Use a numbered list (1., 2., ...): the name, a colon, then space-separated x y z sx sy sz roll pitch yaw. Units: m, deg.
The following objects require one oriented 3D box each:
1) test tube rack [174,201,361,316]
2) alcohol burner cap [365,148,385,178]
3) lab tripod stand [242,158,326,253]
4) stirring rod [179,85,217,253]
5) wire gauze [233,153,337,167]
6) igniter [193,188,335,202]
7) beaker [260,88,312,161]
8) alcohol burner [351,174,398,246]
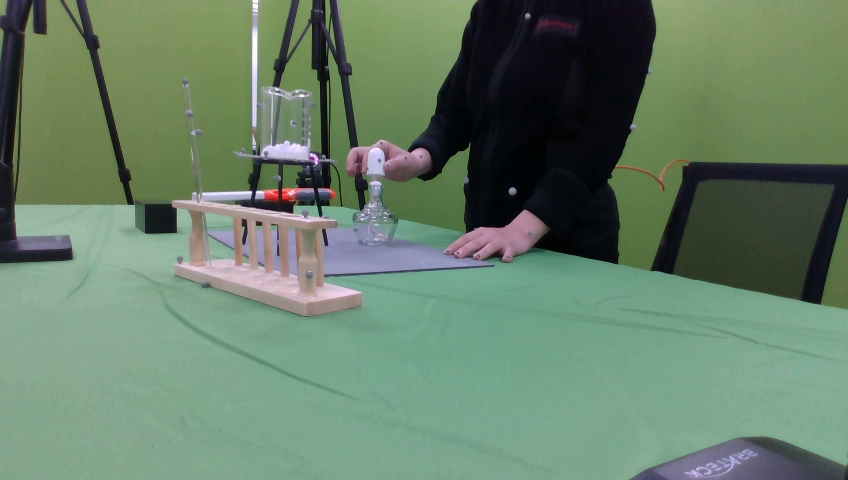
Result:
1. test tube rack: -0.169 0.010 0.622 0.241 0.085 0.067 9 9 41
2. alcohol burner cap: -0.080 -0.127 0.993 0.034 0.048 0.034 0 -1 0
3. lab tripod stand: -0.207 -0.054 0.895 0.148 0.131 0.148 3 5 0
4. stirring rod: -0.236 -0.073 0.634 0.006 0.176 0.014 0 10 42
5. wire gauze: -0.205 -0.119 0.887 0.122 0.011 0.124 2 4 -32
6. igniter: -0.312 -0.089 1.209 0.278 0.025 0.057 -5 13 -31
7. beaker: -0.200 -0.166 0.876 0.074 0.100 0.083 1 7 -18
8. alcohol burner: -0.081 -0.051 0.995 0.078 0.119 0.078 1 6 0
